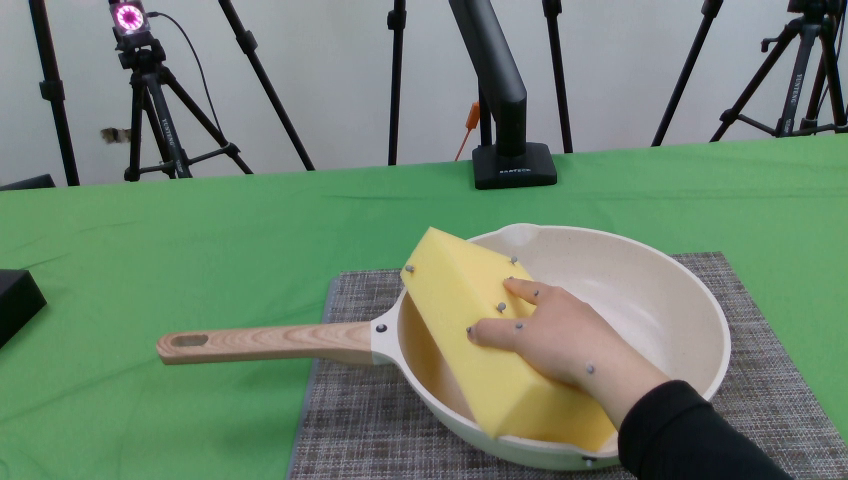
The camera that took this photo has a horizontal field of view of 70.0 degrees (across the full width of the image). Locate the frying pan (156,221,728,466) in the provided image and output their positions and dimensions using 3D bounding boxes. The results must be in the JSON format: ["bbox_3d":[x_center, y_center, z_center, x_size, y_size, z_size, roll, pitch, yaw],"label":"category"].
[{"bbox_3d":[0.013,0.087,0.551,0.489,0.103,0.304,1,33,-5],"label":"frying pan"}]

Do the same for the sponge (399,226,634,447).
[{"bbox_3d":[0.071,0.080,0.532,0.119,0.061,0.204,20,23,-35],"label":"sponge"}]
